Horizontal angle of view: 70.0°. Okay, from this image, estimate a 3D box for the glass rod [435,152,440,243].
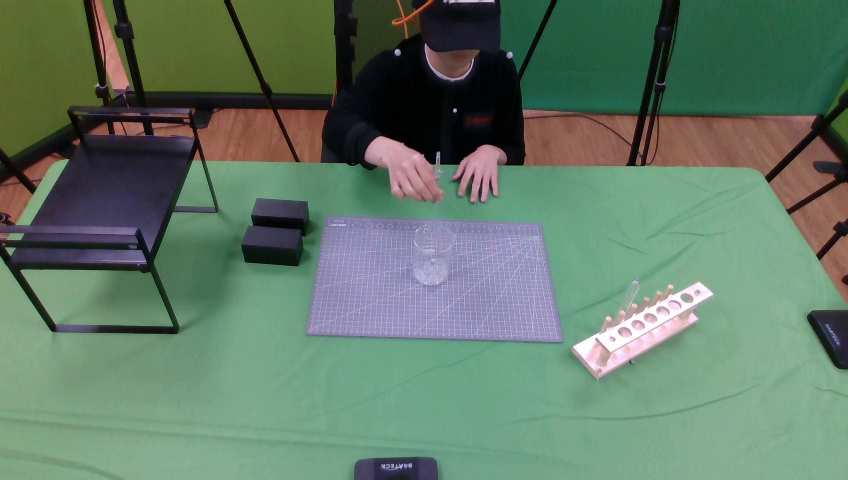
[{"bbox_3d":[0.024,-0.066,1.020,0.008,0.201,0.008,0,45,0],"label":"glass rod"}]

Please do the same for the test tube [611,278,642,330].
[{"bbox_3d":[0.332,0.113,0.999,0.017,0.151,0.017,1,48,-1],"label":"test tube"}]

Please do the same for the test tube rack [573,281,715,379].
[{"bbox_3d":[0.378,0.140,1.038,0.242,0.085,0.066,-22,51,-23],"label":"test tube rack"}]

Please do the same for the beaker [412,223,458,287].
[{"bbox_3d":[0.018,0.030,1.109,0.084,0.101,0.073,-10,48,-14],"label":"beaker"}]
